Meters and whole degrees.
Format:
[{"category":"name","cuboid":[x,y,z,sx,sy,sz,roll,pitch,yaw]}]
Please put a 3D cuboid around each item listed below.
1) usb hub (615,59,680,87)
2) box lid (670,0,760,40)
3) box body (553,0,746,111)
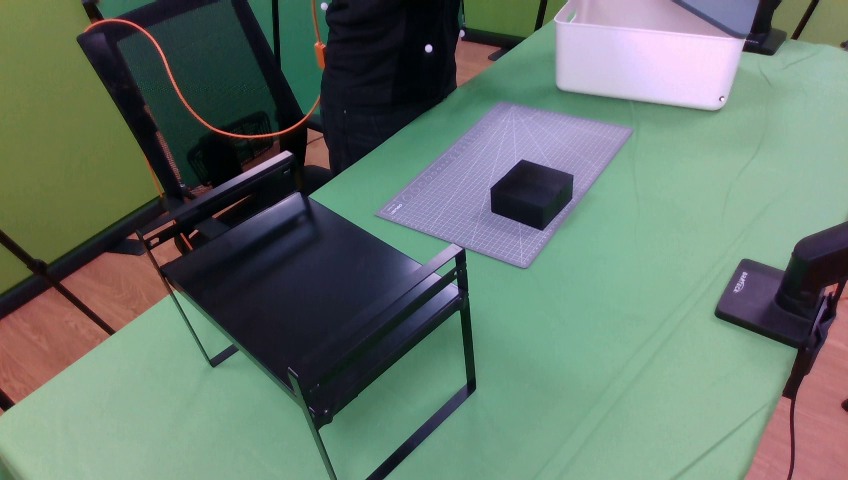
[{"category":"usb hub","cuboid":[0.484,-0.363,1.311,0.124,0.025,0.049,21,46,27]},{"category":"box lid","cuboid":[0.480,-0.529,1.176,0.371,0.015,0.263,33,48,4]},{"category":"box body","cuboid":[0.481,-0.417,1.281,0.362,0.161,0.254,15,46,24]}]
